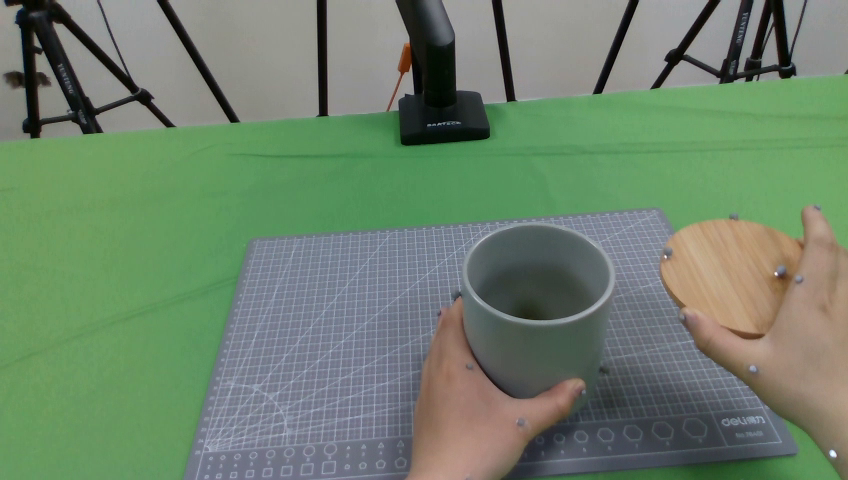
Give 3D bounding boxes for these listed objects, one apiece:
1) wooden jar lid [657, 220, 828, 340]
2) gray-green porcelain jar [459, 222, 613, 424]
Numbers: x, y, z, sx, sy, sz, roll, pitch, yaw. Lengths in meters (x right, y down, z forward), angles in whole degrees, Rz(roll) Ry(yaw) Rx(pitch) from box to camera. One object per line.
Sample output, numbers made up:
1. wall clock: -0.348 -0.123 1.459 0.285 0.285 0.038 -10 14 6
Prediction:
1. wooden jar lid: 0.218 0.028 0.423 0.108 0.021 0.107 -4 43 4
2. gray-green porcelain jar: 0.080 0.067 0.457 0.106 0.127 0.105 -3 40 3
